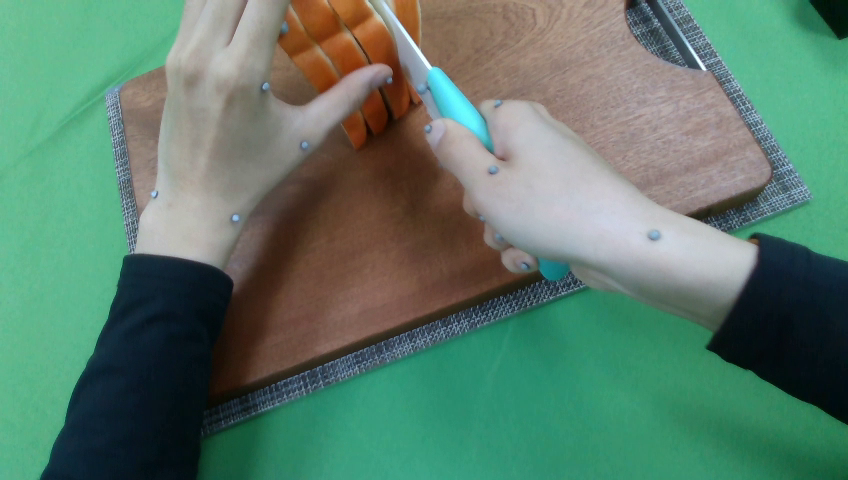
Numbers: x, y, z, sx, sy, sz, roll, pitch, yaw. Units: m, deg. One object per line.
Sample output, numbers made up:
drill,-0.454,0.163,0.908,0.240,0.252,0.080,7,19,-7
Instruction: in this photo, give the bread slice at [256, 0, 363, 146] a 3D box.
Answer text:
bread slice,-0.081,-0.134,0.382,0.018,0.135,0.106,-29,65,2

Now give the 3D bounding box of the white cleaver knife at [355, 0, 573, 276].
white cleaver knife,0.001,-0.099,0.362,0.021,0.066,0.284,-31,74,-3

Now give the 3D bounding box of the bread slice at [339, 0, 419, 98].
bread slice,-0.035,-0.165,0.385,0.019,0.132,0.104,-32,68,-9
